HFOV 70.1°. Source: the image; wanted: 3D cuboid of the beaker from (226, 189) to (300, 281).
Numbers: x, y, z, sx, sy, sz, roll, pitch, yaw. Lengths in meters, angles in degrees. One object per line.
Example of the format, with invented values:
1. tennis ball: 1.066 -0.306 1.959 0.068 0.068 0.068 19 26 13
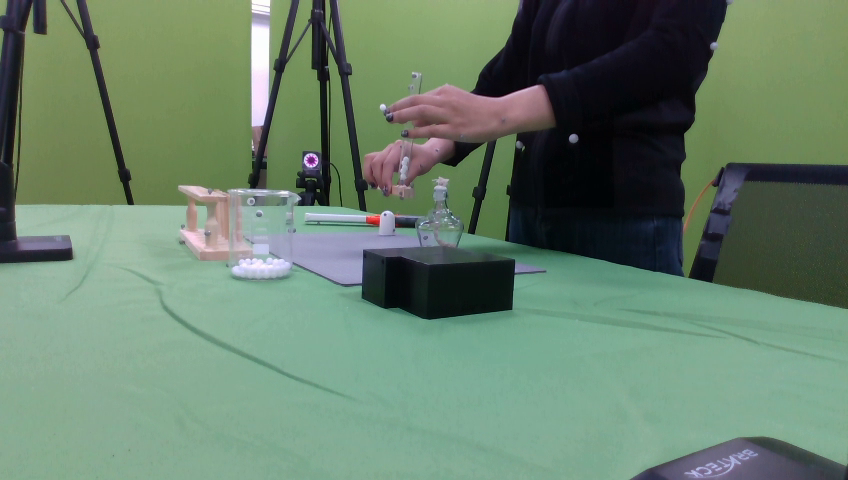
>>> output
1. beaker: -0.184 -0.007 0.694 0.084 0.100 0.073 -1 8 -29

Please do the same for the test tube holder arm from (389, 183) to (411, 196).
1. test tube holder arm: -0.037 -0.075 0.886 0.010 0.015 0.087 3 8 -18

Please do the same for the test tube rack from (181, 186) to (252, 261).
1. test tube rack: -0.312 -0.031 0.893 0.067 0.085 0.241 -1 8 -27

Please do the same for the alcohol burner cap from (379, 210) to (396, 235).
1. alcohol burner cap: -0.067 -0.033 1.129 0.034 0.048 0.034 1 8 0

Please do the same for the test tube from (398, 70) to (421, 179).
1. test tube: -0.020 -0.160 0.847 0.017 0.150 0.017 7 13 -1

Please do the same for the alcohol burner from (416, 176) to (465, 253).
1. alcohol burner: 0.026 -0.040 0.935 0.078 0.119 0.078 1 6 0

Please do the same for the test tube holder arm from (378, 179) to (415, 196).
1. test tube holder arm: -0.045 -0.081 0.931 0.013 0.015 0.178 3 8 -17

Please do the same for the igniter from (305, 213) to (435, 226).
1. igniter: -0.114 -0.046 1.296 0.277 0.025 0.057 1 -2 -11
